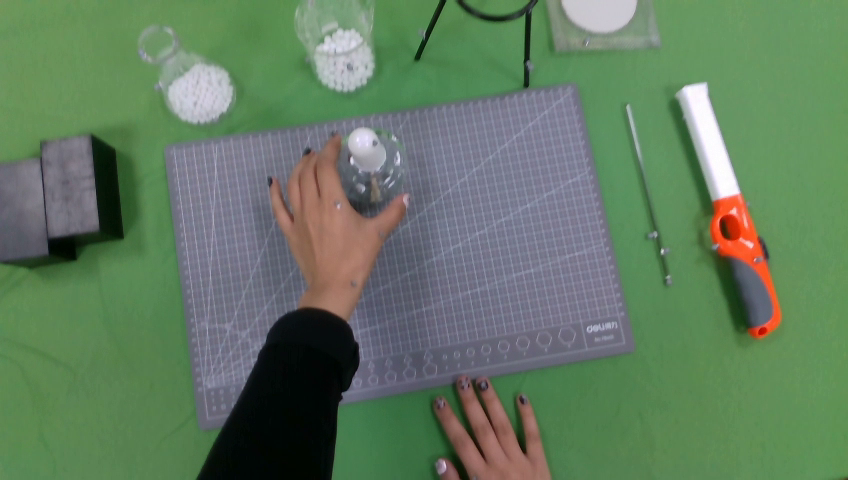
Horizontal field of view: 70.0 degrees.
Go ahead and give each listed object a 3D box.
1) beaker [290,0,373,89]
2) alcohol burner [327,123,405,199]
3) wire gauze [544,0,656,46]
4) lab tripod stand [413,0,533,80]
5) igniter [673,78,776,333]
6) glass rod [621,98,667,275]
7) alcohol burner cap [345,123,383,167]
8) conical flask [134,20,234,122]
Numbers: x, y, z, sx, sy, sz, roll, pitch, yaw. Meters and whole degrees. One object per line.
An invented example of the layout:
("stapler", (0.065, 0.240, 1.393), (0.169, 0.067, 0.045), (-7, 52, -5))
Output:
("beaker", (-0.087, -0.206, 0.617), (0.084, 0.100, 0.074), (-37, 85, -7))
("alcohol burner", (-0.058, -0.083, 0.592), (0.078, 0.119, 0.077), (0, 80, -2))
("wire gauze", (0.195, -0.277, 0.683), (0.125, 0.011, 0.121), (-5, 83, -4))
("lab tripod stand", (0.060, -0.234, 0.609), (0.148, 0.131, 0.148), (0, 84, -1))
("igniter", (0.320, -0.039, 0.645), (0.057, 0.025, 0.275), (-12, 83, -14))
("glass rod", (0.238, -0.060, 0.655), (0.008, 0.008, 0.199), (-10, 83, -4))
("alcohol burner cap", (-0.057, -0.090, 0.556), (0.034, 0.048, 0.033), (-1, 77, 4))
("conical flask", (-0.240, -0.170, 0.595), (0.075, 0.122, 0.075), (0, 81, -2))
